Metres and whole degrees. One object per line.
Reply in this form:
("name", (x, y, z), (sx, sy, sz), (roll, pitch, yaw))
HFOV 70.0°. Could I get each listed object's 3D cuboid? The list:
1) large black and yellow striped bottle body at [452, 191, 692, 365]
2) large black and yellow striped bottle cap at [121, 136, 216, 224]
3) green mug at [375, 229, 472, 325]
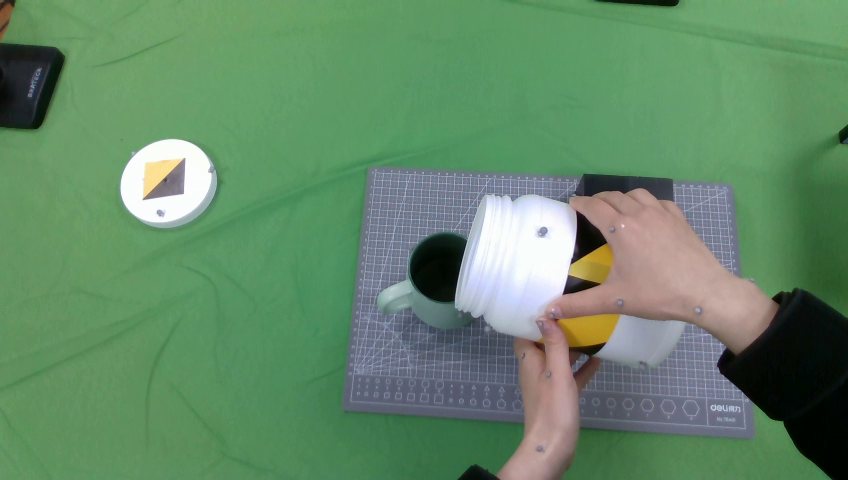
("large black and yellow striped bottle body", (0.127, 0.030, 0.551), (0.184, 0.131, 0.130), (15, 72, -2))
("large black and yellow striped bottle cap", (-0.319, -0.076, 0.757), (0.115, 0.019, 0.114), (0, 71, 1))
("green mug", (0.007, 0.047, 0.660), (0.125, 0.105, 0.092), (-21, 73, -5))
